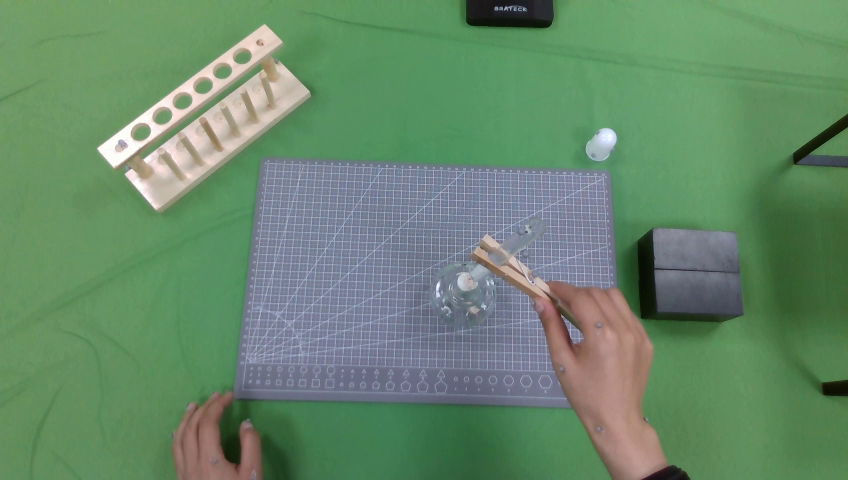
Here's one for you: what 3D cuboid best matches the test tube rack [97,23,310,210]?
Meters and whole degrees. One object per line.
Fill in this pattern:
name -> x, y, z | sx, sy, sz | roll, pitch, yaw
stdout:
test tube rack -> -0.259, -0.149, 0.740 | 0.242, 0.085, 0.066 | -42, 79, -13

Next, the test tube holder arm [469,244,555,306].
test tube holder arm -> 0.080, 0.032, 0.545 | 0.088, 0.015, 0.010 | 32, 69, -2

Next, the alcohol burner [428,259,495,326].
alcohol burner -> 0.044, 0.055, 0.677 | 0.078, 0.119, 0.077 | 1, 72, -3

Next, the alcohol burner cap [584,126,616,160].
alcohol burner cap -> 0.228, -0.126, 0.777 | 0.034, 0.048, 0.033 | 1, 73, -2

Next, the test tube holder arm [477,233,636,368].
test tube holder arm -> 0.120, 0.055, 0.547 | 0.178, 0.015, 0.013 | 39, 70, 0

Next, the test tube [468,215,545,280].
test tube -> 0.068, 0.011, 0.531 | 0.017, 0.150, 0.017 | 5, 71, -14
